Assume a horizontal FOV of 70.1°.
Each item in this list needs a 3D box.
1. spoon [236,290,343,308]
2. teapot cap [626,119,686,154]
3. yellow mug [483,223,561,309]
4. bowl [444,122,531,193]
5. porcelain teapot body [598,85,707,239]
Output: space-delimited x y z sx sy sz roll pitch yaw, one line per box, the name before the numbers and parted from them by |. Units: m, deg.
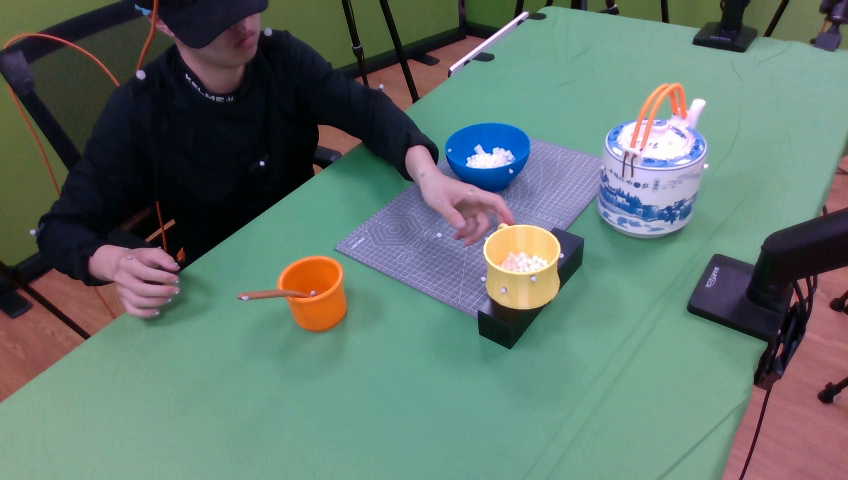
spoon | -0.175 0.076 0.808 0.041 0.195 0.021 23 93 30
teapot cap | 0.338 -0.153 0.882 0.085 0.044 0.085 -3 38 3
yellow mug | 0.125 0.025 0.811 0.100 0.064 0.130 -16 39 -9
bowl | 0.113 -0.136 1.063 0.151 0.077 0.150 -4 41 4
porcelain teapot body | 0.363 -0.137 0.921 0.144 0.226 0.206 28 51 36
